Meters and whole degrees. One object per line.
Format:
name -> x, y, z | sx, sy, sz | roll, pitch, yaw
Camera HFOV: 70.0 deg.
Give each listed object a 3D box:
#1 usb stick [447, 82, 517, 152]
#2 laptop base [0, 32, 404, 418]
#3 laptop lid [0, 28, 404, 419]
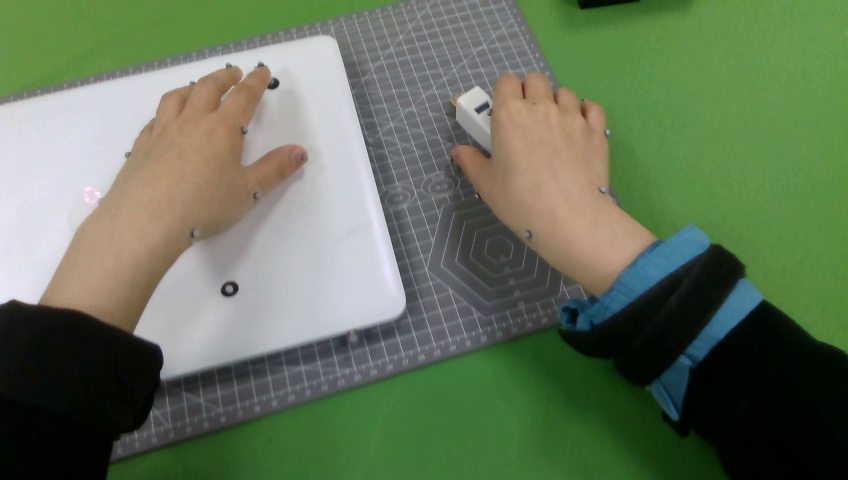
usb stick -> 0.039, -0.091, 0.430 | 0.021, 0.027, 0.058 | -34, 64, -17
laptop base -> -0.209, -0.013, 0.406 | 0.355, 0.023, 0.233 | -14, 68, -5
laptop lid -> -0.208, -0.017, 0.394 | 0.357, 0.013, 0.239 | -13, 67, -4
